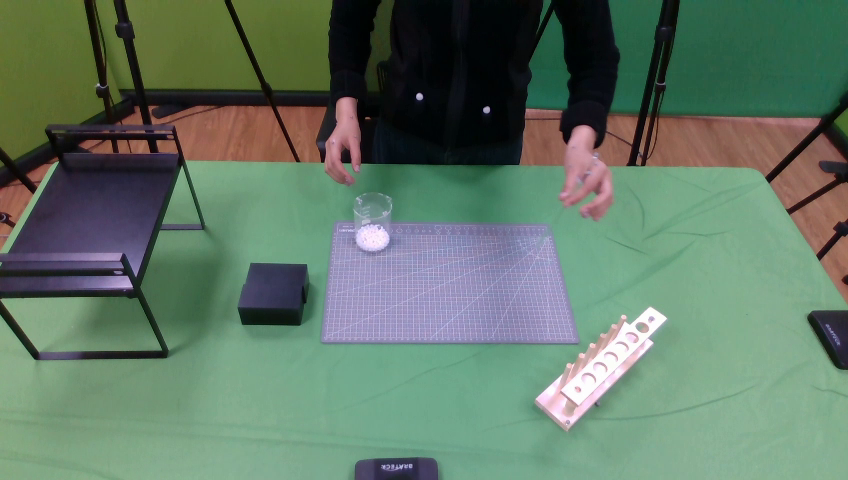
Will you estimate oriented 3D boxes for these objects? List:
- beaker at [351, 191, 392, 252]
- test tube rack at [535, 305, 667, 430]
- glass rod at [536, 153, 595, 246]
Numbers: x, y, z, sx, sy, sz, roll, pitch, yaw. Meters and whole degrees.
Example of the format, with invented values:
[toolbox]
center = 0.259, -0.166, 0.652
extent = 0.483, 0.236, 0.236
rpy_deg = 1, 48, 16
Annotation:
[beaker]
center = -0.097, -0.034, 1.162
extent = 0.084, 0.101, 0.073
rpy_deg = -29, 55, -28
[test tube rack]
center = 0.290, 0.193, 0.984
extent = 0.242, 0.085, 0.066
rpy_deg = -32, 57, -30
[glass rod]
center = 0.226, -0.060, 0.980
extent = 0.008, 0.200, 0.008
rpy_deg = 13, 42, -12
